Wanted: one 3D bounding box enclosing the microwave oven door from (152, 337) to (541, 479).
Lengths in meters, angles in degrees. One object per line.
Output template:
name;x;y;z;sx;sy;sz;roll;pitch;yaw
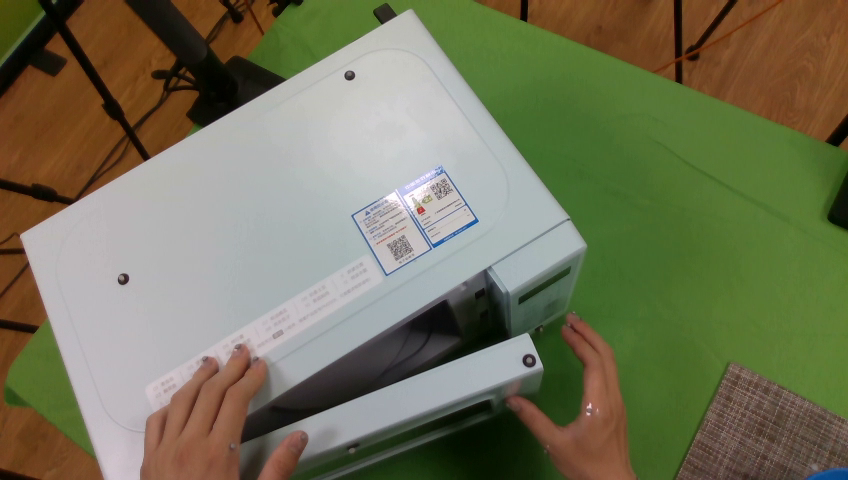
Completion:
microwave oven door;-0.061;0.185;0.583;0.356;0.245;0.039;-21;68;1

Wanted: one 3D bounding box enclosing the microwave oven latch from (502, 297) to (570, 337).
microwave oven latch;0.129;0.081;0.701;0.079;0.030;0.030;-30;70;-2

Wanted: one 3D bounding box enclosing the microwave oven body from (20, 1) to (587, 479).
microwave oven body;-0.111;0.024;0.651;0.442;0.262;0.323;-32;70;-3

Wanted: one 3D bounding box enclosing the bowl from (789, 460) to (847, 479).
bowl;0.401;0.290;0.581;0.151;0.077;0.150;-3;70;8
